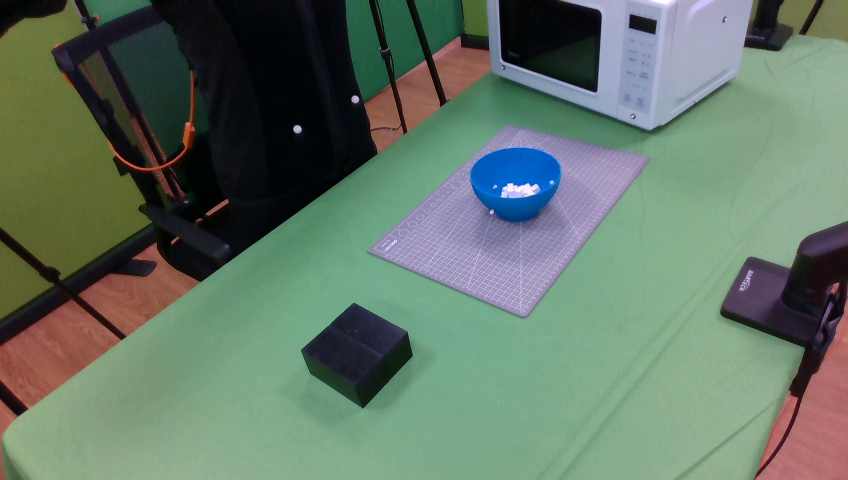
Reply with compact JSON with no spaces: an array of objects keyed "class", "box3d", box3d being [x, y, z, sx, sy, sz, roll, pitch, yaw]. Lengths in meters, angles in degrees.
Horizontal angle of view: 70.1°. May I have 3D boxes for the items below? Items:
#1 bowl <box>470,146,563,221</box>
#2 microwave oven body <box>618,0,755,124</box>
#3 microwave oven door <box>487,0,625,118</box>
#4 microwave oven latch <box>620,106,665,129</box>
[{"class":"bowl","box3d":[0.155,-0.084,1.008,0.151,0.077,0.150,-6,40,5]},{"class":"microwave oven body","box3d":[0.402,-0.458,1.259,0.327,0.261,0.437,-33,45,-24]},{"class":"microwave oven door","box3d":[0.262,-0.409,1.221,0.039,0.245,0.352,-33,45,-25]},{"class":"microwave oven latch","box3d":[0.412,-0.237,1.146,0.030,0.029,0.078,-32,44,-23]}]
